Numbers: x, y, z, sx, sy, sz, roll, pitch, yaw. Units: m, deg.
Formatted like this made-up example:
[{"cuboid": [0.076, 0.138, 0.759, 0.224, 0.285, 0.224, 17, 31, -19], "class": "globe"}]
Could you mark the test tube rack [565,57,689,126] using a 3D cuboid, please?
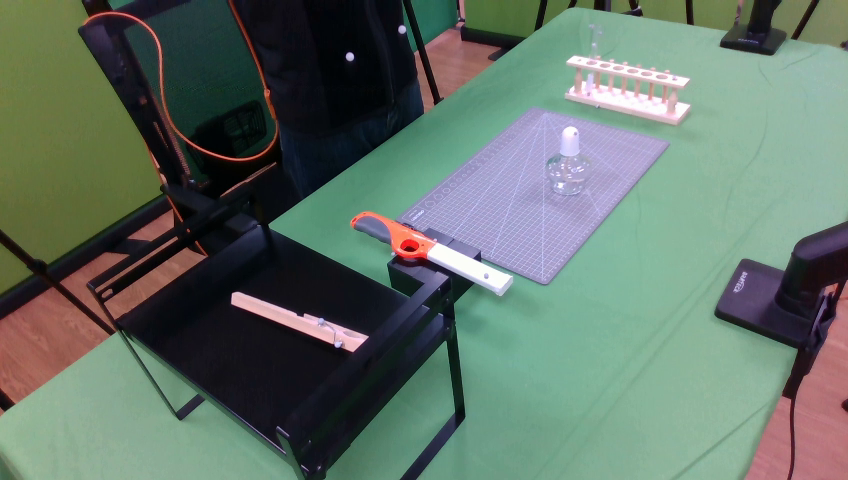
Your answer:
[{"cuboid": [0.412, -0.311, 1.230, 0.240, 0.085, 0.067, 23, 49, 32], "class": "test tube rack"}]

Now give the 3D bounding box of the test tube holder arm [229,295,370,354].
[{"cuboid": [-0.131, 0.084, 0.618, 0.177, 0.015, 0.013, 14, 7, 24], "class": "test tube holder arm"}]

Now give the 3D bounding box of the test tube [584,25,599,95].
[{"cuboid": [0.339, -0.361, 1.224, 0.017, 0.151, 0.017, -4, 45, 4], "class": "test tube"}]

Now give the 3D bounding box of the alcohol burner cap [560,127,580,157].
[{"cuboid": [0.243, -0.165, 1.001, 0.034, 0.048, 0.033, -4, 38, 3], "class": "alcohol burner cap"}]

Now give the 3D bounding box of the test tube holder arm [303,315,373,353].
[{"cuboid": [-0.089, 0.093, 0.604, 0.087, 0.015, 0.010, 14, 7, 26], "class": "test tube holder arm"}]

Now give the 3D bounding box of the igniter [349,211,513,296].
[{"cuboid": [0.003, 0.013, 0.881, 0.274, 0.025, 0.057, 24, 52, 28], "class": "igniter"}]

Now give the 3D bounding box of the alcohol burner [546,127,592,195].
[{"cuboid": [0.246, -0.137, 1.024, 0.078, 0.119, 0.077, -4, 38, 4], "class": "alcohol burner"}]
